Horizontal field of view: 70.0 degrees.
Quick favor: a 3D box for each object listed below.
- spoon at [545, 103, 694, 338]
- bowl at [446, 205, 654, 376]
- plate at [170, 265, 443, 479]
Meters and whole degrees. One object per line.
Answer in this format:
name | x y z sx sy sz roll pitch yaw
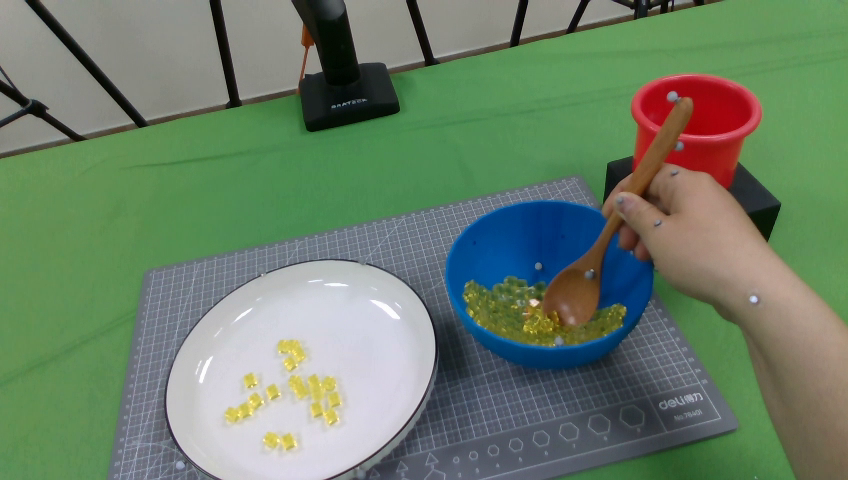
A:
spoon | 0.135 -0.006 0.425 0.022 0.195 0.041 -20 50 -43
bowl | 0.094 0.051 0.469 0.151 0.077 0.150 -5 44 5
plate | -0.087 0.105 0.473 0.207 0.039 0.205 -5 44 5
